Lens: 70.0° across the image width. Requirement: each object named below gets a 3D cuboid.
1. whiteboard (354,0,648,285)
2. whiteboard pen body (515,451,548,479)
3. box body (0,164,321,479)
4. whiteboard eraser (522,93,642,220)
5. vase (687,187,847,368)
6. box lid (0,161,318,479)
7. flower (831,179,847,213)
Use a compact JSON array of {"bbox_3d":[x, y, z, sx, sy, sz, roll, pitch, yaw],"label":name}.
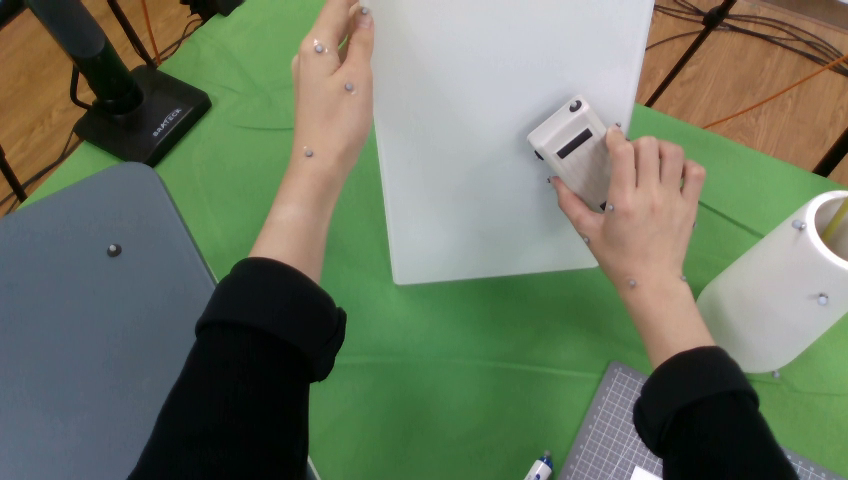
[{"bbox_3d":[0.060,-0.122,0.573,0.217,0.308,0.142,-5,42,-1],"label":"whiteboard"},{"bbox_3d":[0.062,0.236,0.507,0.017,0.017,0.140,34,63,18],"label":"whiteboard pen body"},{"bbox_3d":[-0.246,0.157,0.472,0.254,0.161,0.361,-30,66,-14],"label":"box body"},{"bbox_3d":[0.134,-0.069,0.514,0.055,0.114,0.041,-36,37,19],"label":"whiteboard eraser"},{"bbox_3d":[0.299,0.036,0.512,0.098,0.201,0.097,0,60,1],"label":"vase"},{"bbox_3d":[-0.248,0.120,0.407,0.263,0.015,0.368,-29,66,-15],"label":"box lid"},{"bbox_3d":[0.298,-0.017,0.446,0.044,0.365,0.038,20,46,15],"label":"flower"}]
